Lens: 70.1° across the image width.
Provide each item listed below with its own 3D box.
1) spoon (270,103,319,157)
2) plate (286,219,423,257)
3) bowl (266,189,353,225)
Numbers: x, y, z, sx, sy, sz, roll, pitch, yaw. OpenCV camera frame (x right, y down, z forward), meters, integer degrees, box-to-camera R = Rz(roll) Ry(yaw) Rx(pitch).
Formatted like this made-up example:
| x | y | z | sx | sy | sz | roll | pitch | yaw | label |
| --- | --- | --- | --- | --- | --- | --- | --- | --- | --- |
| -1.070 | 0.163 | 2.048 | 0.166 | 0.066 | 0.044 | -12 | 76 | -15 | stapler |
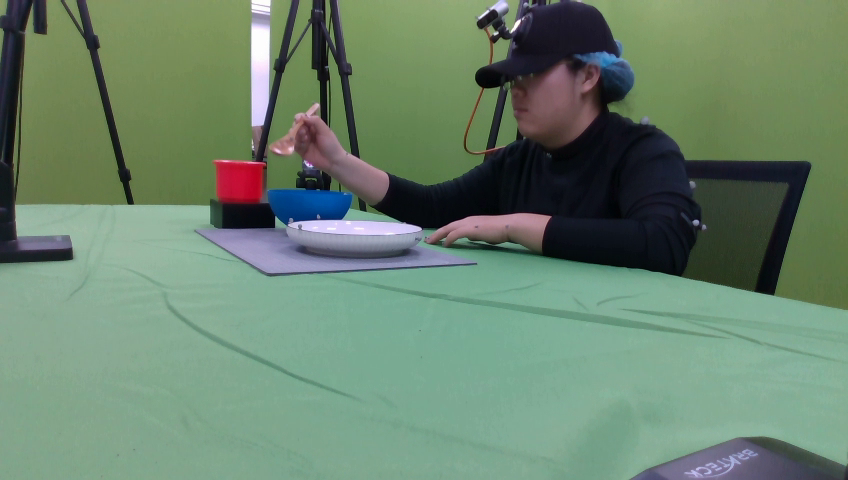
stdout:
| x | y | z | sx | sy | sz | roll | pitch | yaw | label |
| --- | --- | --- | --- | --- | --- | --- | --- | --- | --- |
| -0.237 | -0.211 | 1.143 | 0.041 | 0.021 | 0.193 | 18 | 47 | 4 | spoon |
| -0.105 | -0.004 | 0.922 | 0.208 | 0.039 | 0.207 | 3 | 8 | 0 | plate |
| -0.204 | -0.049 | 1.079 | 0.151 | 0.077 | 0.151 | 3 | 7 | 0 | bowl |
